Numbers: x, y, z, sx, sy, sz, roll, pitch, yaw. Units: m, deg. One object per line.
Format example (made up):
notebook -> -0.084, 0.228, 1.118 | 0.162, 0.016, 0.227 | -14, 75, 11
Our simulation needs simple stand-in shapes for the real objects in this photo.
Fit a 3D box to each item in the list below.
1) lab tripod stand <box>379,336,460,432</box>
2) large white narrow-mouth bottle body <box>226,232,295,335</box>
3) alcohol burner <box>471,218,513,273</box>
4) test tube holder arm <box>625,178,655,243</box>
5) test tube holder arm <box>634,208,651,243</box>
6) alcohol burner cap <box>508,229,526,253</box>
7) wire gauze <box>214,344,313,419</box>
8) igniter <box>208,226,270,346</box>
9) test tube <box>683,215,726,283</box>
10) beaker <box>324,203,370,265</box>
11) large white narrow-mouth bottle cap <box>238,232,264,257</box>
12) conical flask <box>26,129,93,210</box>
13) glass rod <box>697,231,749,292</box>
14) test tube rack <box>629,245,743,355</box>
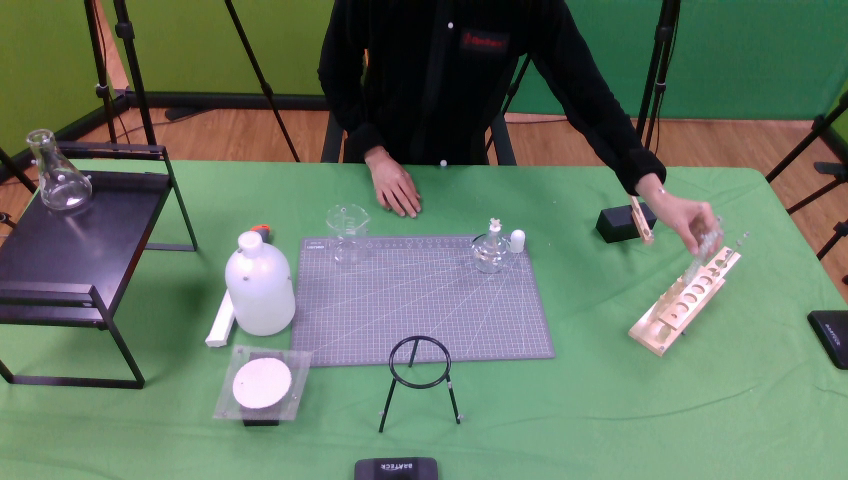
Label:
lab tripod stand -> -0.010, 0.214, 0.911 | 0.148, 0.132, 0.147 | 1, 45, -1
large white narrow-mouth bottle body -> -0.270, 0.065, 0.995 | 0.102, 0.195, 0.101 | 2, 46, -2
alcohol burner -> 0.128, 0.005, 1.132 | 0.078, 0.120, 0.077 | 0, 47, 0
test tube holder arm -> 0.433, -0.062, 1.220 | 0.013, 0.015, 0.177 | 1, 47, -3
test tube holder arm -> 0.428, -0.030, 1.189 | 0.010, 0.015, 0.087 | 2, 47, -1
alcohol burner cap -> 0.185, -0.002, 1.192 | 0.034, 0.048, 0.033 | 3, 46, -3
wire gauze -> -0.241, 0.213, 0.915 | 0.121, 0.011, 0.124 | 5, 46, 1
igniter -> -0.331, 0.073, 1.099 | 0.057, 0.025, 0.275 | -4, 45, 10
test tube -> 0.446, 0.018, 0.968 | 0.017, 0.151, 0.017 | 1, 47, -1
beaker -> -0.142, -0.009, 1.137 | 0.084, 0.101, 0.073 | -3, 47, -7
large white narrow-mouth bottle cap -> -0.266, 0.007, 0.933 | 0.038, 0.024, 0.037 | 2, 46, -2
conical flask -> -0.575, -0.113, 0.946 | 0.075, 0.122, 0.075 | 2, 46, -2
glass rod -> 0.515, 0.044, 1.051 | 0.008, 0.200, 0.008 | 1, 55, -1
test tube rack -> 0.474, 0.095, 1.091 | 0.242, 0.085, 0.066 | -34, 56, -31
